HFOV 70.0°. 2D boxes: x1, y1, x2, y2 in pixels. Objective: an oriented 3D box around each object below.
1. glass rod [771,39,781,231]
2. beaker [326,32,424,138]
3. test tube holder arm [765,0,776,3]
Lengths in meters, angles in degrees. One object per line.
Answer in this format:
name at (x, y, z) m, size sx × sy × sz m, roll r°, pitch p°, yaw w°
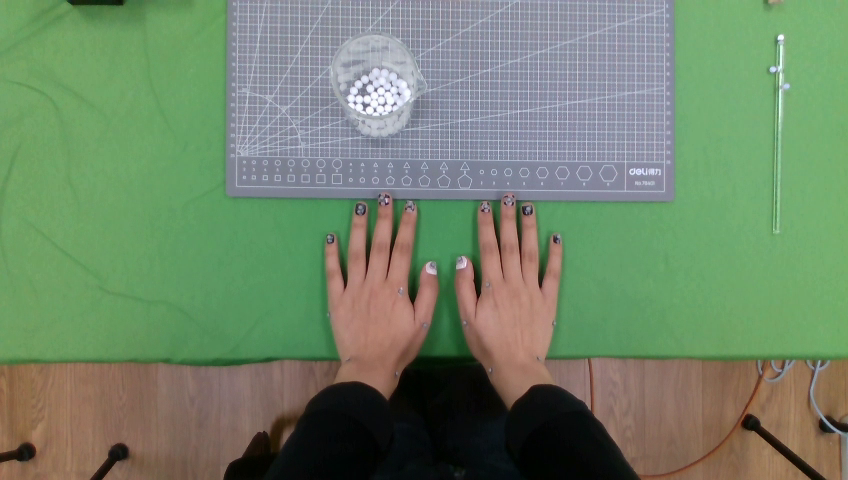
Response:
glass rod at (0.364, -0.109, 0.627) m, size 0.008 × 0.008 × 0.199 m, roll 2°, pitch 89°, yaw -3°
beaker at (-0.043, -0.137, 0.559) m, size 0.084 × 0.100 × 0.074 m, roll 9°, pitch 88°, yaw -3°
test tube holder arm at (0.365, -0.334, 0.623) m, size 0.013 × 0.015 × 0.178 m, roll 7°, pitch 89°, yaw -32°
